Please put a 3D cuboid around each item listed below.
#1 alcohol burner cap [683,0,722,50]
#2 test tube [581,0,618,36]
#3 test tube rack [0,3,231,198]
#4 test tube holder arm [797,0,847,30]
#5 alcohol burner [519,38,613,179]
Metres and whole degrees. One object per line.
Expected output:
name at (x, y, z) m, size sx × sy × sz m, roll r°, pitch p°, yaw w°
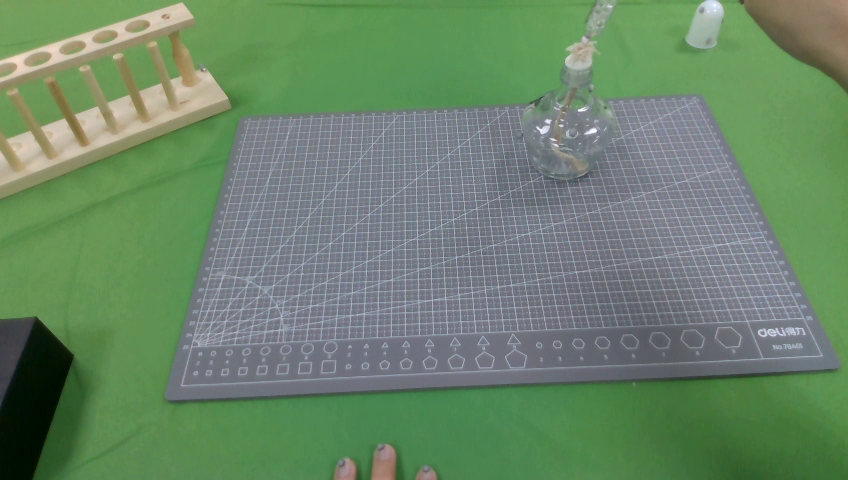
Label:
alcohol burner cap at (0.296, -0.228, 0.638) m, size 0.034 × 0.048 × 0.033 m, roll -2°, pitch 50°, yaw 3°
test tube at (0.139, -0.196, 0.386) m, size 0.017 × 0.151 × 0.017 m, roll 10°, pitch 51°, yaw -12°
test tube rack at (-0.313, -0.127, 0.552) m, size 0.242 × 0.086 × 0.066 m, roll -27°, pitch 54°, yaw -19°
test tube holder arm at (0.197, -0.166, 0.361) m, size 0.177 × 0.015 × 0.013 m, roll 38°, pitch 54°, yaw 14°
alcohol burner at (0.118, -0.109, 0.495) m, size 0.078 × 0.120 × 0.077 m, roll -1°, pitch 48°, yaw 2°
